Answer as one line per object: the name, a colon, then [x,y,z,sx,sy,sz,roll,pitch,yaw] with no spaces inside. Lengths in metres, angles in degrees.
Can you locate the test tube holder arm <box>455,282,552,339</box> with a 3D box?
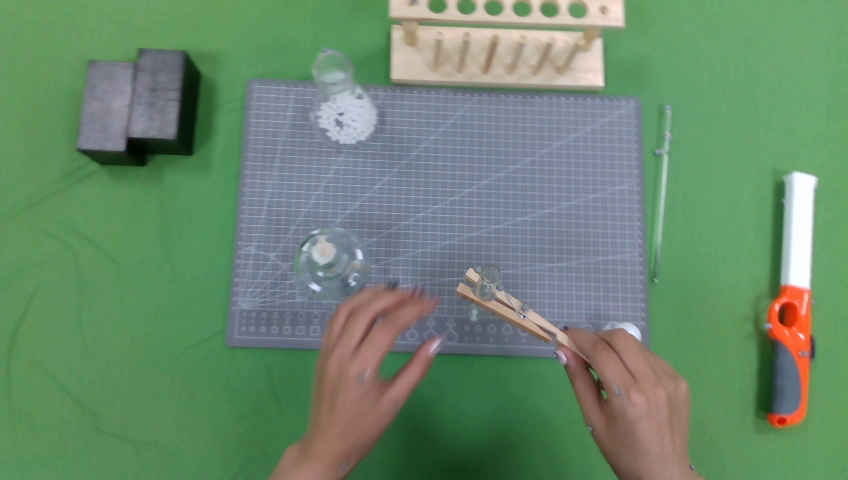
test tube holder arm: [0.066,0.059,0.503,0.087,0.015,0.010,25,79,9]

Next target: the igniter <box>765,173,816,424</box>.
igniter: [0.400,0.061,0.659,0.057,0.025,0.275,12,79,-10]

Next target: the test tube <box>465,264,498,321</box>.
test tube: [0.048,0.048,0.521,0.017,0.151,0.017,0,71,0]

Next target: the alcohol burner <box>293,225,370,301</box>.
alcohol burner: [-0.094,0.020,0.600,0.078,0.119,0.077,0,78,0]

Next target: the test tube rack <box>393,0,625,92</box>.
test tube rack: [0.088,-0.217,0.667,0.242,0.085,0.066,2,80,-2]

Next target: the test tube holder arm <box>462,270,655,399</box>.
test tube holder arm: [0.108,0.076,0.496,0.178,0.015,0.013,31,81,10]

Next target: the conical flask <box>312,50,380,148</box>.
conical flask: [-0.085,-0.149,0.626,0.075,0.122,0.075,0,79,-2]

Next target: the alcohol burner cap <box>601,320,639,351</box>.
alcohol burner cap: [0.208,0.099,0.634,0.034,0.048,0.033,0,79,-2]

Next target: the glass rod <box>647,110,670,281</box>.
glass rod: [0.265,-0.052,0.684,0.008,0.008,0.199,9,82,-1]
